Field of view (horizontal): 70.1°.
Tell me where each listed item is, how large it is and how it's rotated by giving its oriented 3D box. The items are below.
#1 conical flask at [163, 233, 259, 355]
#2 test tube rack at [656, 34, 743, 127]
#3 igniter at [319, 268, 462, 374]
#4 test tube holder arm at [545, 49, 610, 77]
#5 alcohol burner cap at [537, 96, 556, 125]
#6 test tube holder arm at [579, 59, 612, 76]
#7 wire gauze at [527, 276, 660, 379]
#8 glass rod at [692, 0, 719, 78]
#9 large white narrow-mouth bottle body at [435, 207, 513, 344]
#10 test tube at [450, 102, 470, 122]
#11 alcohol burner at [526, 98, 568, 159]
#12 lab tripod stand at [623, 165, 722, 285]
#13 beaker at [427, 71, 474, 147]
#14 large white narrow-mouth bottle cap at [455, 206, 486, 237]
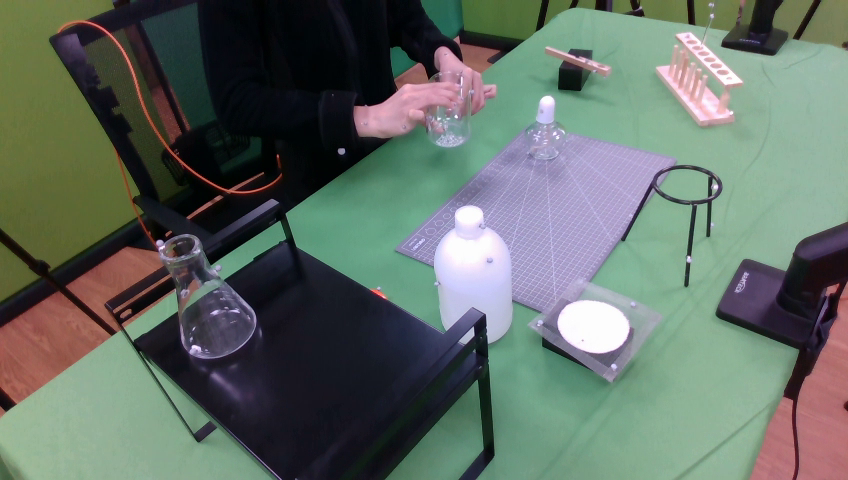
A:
[{"bbox_3d":[-0.216,0.051,0.601,0.075,0.122,0.075,-5,40,4],"label":"conical flask"},{"bbox_3d":[0.553,-0.330,1.233,0.067,0.085,0.241,-7,40,2],"label":"test tube rack"},{"bbox_3d":[-0.059,0.107,0.862,0.274,0.025,0.057,28,62,34],"label":"igniter"},{"bbox_3d":[0.330,-0.387,1.314,0.013,0.015,0.177,-25,43,-31],"label":"test tube holder arm"},{"bbox_3d":[0.223,-0.237,1.095,0.034,0.048,0.033,0,42,1],"label":"alcohol burner cap"},{"bbox_3d":[0.363,-0.368,1.289,0.010,0.015,0.087,-26,43,-31],"label":"test tube holder arm"},{"bbox_3d":[0.213,0.103,0.763,0.124,0.011,0.122,30,52,35],"label":"wire gauze"},{"bbox_3d":[0.561,-0.401,1.214,0.008,0.200,0.008,-1,48,2],"label":"glass rod"},{"bbox_3d":[0.065,0.041,0.791,0.102,0.195,0.101,-4,41,4],"label":"large white narrow-mouth bottle body"},{"bbox_3d":[0.066,-0.230,1.094,0.017,0.017,0.150,2,3,12],"label":"test tube"},{"bbox_3d":[0.228,-0.210,1.118,0.078,0.119,0.077,-5,43,5],"label":"alcohol burner"},{"bbox_3d":[0.365,-0.030,0.875,0.148,0.132,0.147,-6,41,6],"label":"lab tripod stand"},{"bbox_3d":[0.042,-0.205,0.963,0.074,0.084,0.100,0,59,7],"label":"beaker"},{"bbox_3d":[0.056,-0.023,0.734,0.038,0.024,0.037,-4,41,4],"label":"large white narrow-mouth bottle cap"}]
